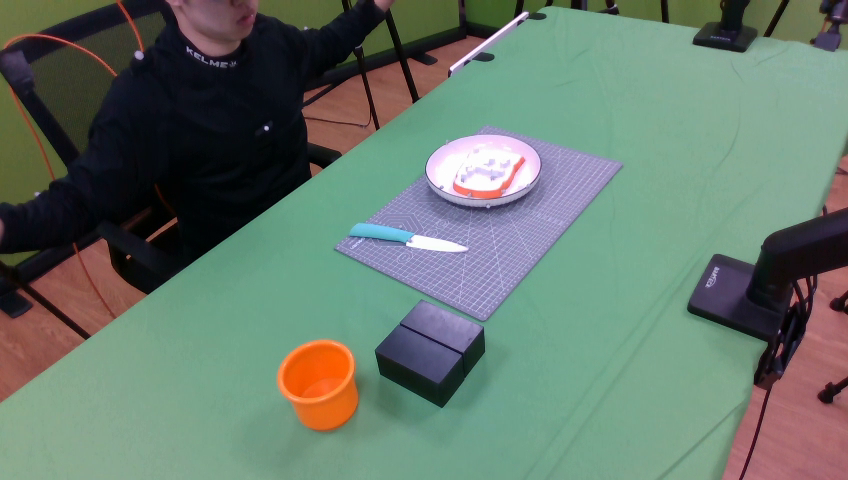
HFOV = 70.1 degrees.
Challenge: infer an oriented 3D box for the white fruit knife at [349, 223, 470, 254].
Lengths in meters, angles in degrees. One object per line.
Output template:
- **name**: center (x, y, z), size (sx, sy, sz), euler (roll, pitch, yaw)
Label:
- **white fruit knife**: center (-0.025, -0.001, 0.977), size (0.206, 0.016, 0.027), euler (11, 73, 17)

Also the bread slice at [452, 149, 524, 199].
- **bread slice**: center (0.111, -0.119, 1.078), size (0.104, 0.019, 0.131), euler (12, 43, 21)

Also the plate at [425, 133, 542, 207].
- **plate**: center (0.106, -0.121, 1.079), size (0.209, 0.038, 0.208), euler (-4, 41, 4)
